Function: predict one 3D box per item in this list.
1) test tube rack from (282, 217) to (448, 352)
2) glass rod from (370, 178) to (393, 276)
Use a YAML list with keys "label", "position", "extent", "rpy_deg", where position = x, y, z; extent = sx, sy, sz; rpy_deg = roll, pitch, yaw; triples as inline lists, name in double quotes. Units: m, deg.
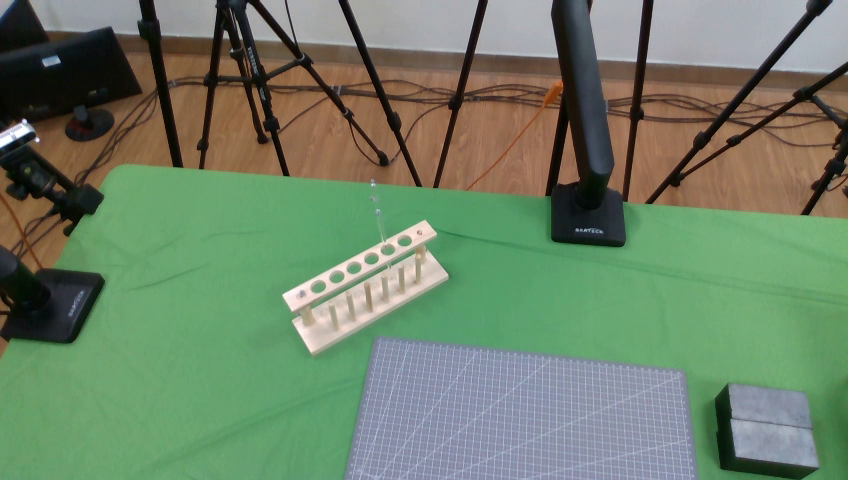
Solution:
- label: "test tube rack"
  position: [-0.082, 0.064, 0.910]
  extent: [0.242, 0.086, 0.066]
  rpy_deg: [-28, 57, -19]
- label: "glass rod"
  position: [-0.062, -0.012, 0.884]
  extent: [0.008, 0.201, 0.008]
  rpy_deg: [-3, 46, 4]
